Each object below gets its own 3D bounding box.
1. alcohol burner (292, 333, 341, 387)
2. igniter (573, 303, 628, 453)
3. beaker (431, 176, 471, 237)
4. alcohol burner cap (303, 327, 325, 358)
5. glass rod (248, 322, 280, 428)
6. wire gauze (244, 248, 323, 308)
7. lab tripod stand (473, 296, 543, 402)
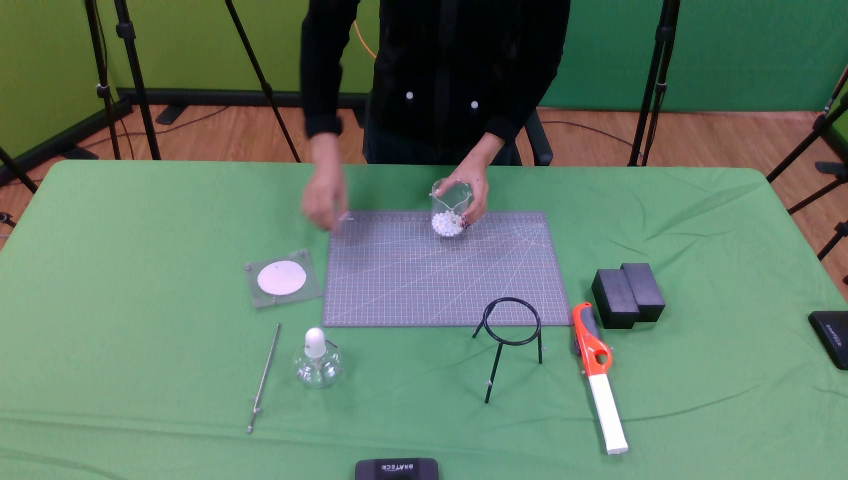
[{"bbox_3d":[-0.170,0.179,0.950,0.078,0.120,0.077,2,48,-2],"label":"alcohol burner"},{"bbox_3d":[0.288,0.216,1.006,0.057,0.025,0.274,-9,46,8],"label":"igniter"},{"bbox_3d":[0.050,-0.060,1.175,0.074,0.101,0.083,0,49,-2],"label":"beaker"},{"bbox_3d":[-0.169,0.154,0.925,0.034,0.048,0.033,4,41,-3],"label":"alcohol burner cap"},{"bbox_3d":[-0.258,0.213,0.984,0.008,0.008,0.198,4,46,1],"label":"glass rod"},{"bbox_3d":[-0.262,0.071,1.121,0.125,0.011,0.120,-11,48,-17],"label":"wire gauze"},{"bbox_3d":[0.132,0.168,0.969,0.148,0.132,0.147,3,48,-3],"label":"lab tripod stand"}]
